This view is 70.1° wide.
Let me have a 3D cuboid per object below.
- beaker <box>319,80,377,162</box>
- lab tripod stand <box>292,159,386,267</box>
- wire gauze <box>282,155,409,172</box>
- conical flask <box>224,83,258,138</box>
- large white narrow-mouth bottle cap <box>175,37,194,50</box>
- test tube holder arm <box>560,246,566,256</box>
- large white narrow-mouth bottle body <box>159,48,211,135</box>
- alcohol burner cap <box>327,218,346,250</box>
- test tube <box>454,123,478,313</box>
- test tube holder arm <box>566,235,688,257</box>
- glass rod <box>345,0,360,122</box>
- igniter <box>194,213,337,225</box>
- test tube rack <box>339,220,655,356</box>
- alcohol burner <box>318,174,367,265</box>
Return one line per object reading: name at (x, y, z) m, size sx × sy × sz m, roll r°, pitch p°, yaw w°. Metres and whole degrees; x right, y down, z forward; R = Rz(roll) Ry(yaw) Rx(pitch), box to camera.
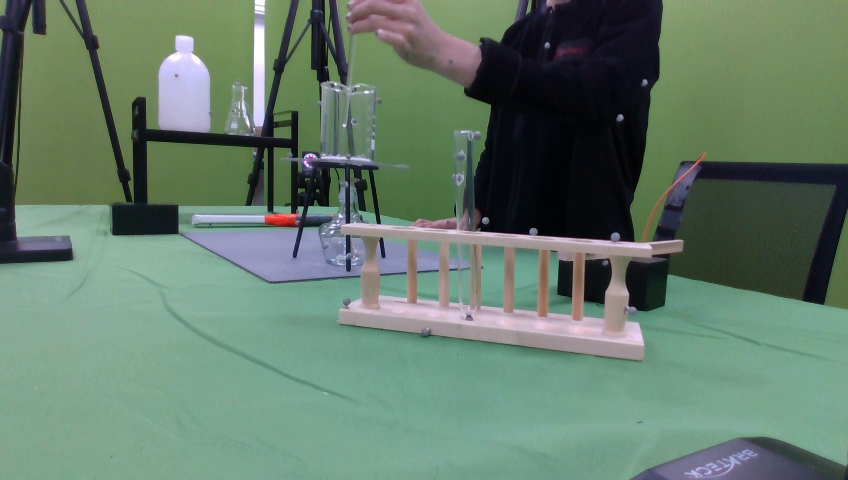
beaker at (-0.098, -0.150, 0.777) m, size 0.074 × 0.100 × 0.084 m, roll 1°, pitch 7°, yaw -8°
lab tripod stand at (-0.105, -0.039, 0.797) m, size 0.148 × 0.131 × 0.148 m, roll 2°, pitch 5°, yaw 0°
wire gauze at (-0.104, -0.103, 0.785) m, size 0.126 × 0.011 × 0.121 m, roll 1°, pitch 8°, yaw -39°
conical flask at (-0.422, -0.299, 1.395) m, size 0.075 × 0.122 × 0.075 m, roll 2°, pitch 7°, yaw 0°
large white narrow-mouth bottle cap at (-0.501, -0.410, 1.264) m, size 0.038 × 0.024 × 0.037 m, roll 2°, pitch 7°, yaw 0°
test tube holder arm at (0.173, 0.007, 0.611) m, size 0.088 × 0.015 × 0.010 m, roll -3°, pitch 10°, yaw -29°
large white narrow-mouth bottle body at (-0.503, -0.322, 1.275) m, size 0.102 × 0.194 × 0.102 m, roll 2°, pitch 7°, yaw 0°
alcohol burner cap at (-0.132, -0.010, 0.927) m, size 0.034 × 0.048 × 0.034 m, roll 3°, pitch 8°, yaw 0°
test tube at (0.033, -0.016, 0.476) m, size 0.017 × 0.150 × 0.017 m, roll -2°, pitch 9°, yaw 1°
test tube holder arm at (0.215, 0.006, 0.629) m, size 0.179 × 0.015 × 0.013 m, roll -3°, pitch 10°, yaw -30°
glass rod at (-0.087, -0.246, 0.749) m, size 0.008 × 0.199 × 0.008 m, roll 7°, pitch 14°, yaw -1°
igniter at (-0.306, -0.042, 1.196) m, size 0.278 × 0.025 × 0.057 m, roll -2°, pitch -2°, yaw -31°
test tube rack at (0.056, 0.032, 0.495) m, size 0.242 × 0.085 × 0.067 m, roll 4°, pitch 7°, yaw 15°
alcohol burner at (-0.100, -0.028, 0.790) m, size 0.078 × 0.119 × 0.078 m, roll 0°, pitch 6°, yaw 0°
